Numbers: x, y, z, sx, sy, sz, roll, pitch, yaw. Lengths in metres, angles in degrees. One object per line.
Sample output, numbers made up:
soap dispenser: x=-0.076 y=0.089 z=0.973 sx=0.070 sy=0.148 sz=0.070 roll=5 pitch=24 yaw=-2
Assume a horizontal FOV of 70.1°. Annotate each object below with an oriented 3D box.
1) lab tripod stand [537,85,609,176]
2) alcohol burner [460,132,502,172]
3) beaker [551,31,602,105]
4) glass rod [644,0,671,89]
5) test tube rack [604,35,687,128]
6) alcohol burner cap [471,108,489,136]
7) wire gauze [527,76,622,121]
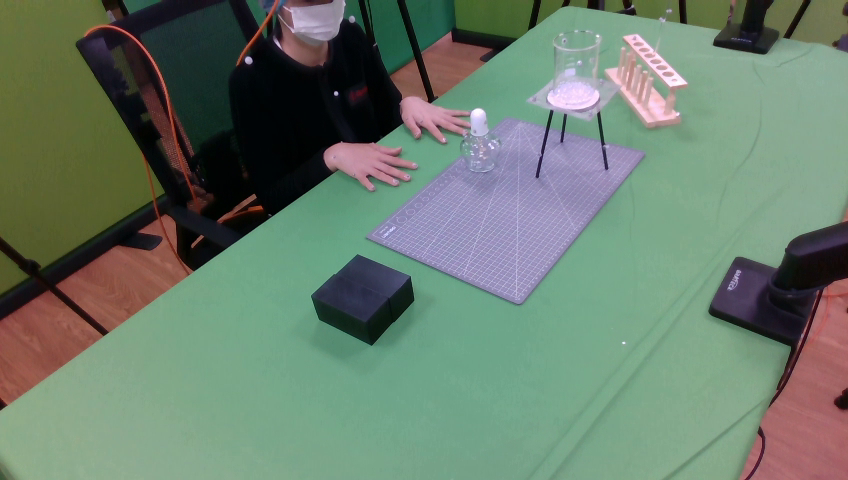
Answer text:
lab tripod stand: x=0.259 y=-0.192 z=1.068 sx=0.148 sy=0.132 sz=0.147 roll=-4 pitch=42 yaw=4
alcohol burner: x=0.102 y=-0.185 z=1.098 sx=0.078 sy=0.119 sz=0.077 roll=-6 pitch=40 yaw=5
beaker: x=0.252 y=-0.282 z=0.998 sx=0.084 sy=0.101 sz=0.073 roll=-16 pitch=42 yaw=-7
glass rod: x=0.463 y=-0.387 z=1.204 sx=0.008 sy=0.200 sz=0.008 roll=-1 pitch=47 yaw=1
test tube rack: x=0.447 y=-0.330 z=1.242 sx=0.067 sy=0.085 sz=0.241 roll=-9 pitch=41 yaw=-2
alcohol burner cap: x=0.098 y=-0.211 z=1.074 sx=0.034 sy=0.048 sz=0.033 roll=-6 pitch=42 yaw=6
wire gauze: x=0.255 y=-0.247 z=1.031 sx=0.124 sy=0.011 sz=0.122 roll=23 pitch=49 yaw=34
